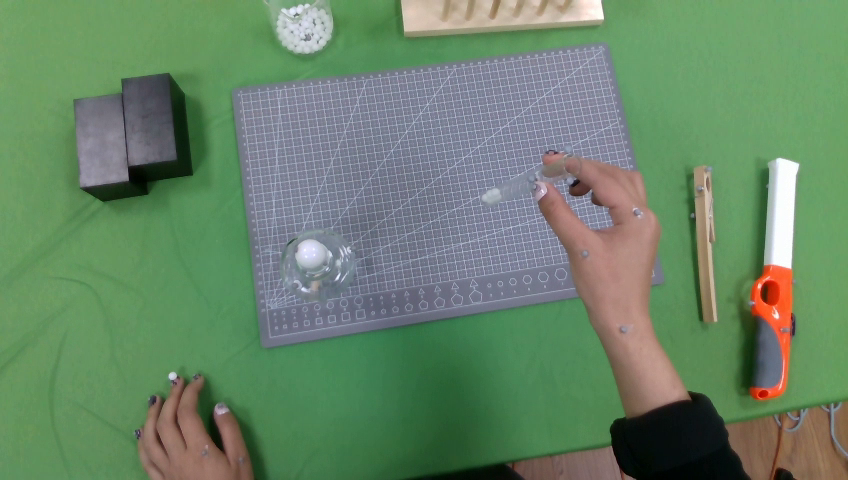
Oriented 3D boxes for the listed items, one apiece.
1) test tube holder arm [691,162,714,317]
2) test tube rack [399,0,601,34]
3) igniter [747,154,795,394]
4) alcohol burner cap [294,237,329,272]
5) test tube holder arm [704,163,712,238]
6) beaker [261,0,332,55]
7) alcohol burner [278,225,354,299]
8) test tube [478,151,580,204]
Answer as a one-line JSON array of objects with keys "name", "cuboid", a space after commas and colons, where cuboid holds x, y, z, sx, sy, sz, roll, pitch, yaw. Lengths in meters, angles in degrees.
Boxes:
[{"name": "test tube holder arm", "cuboid": [0.317, -0.002, 0.689, 0.013, 0.015, 0.177, 8, 78, -32]}, {"name": "test tube rack", "cuboid": [0.093, -0.298, 0.702, 0.242, 0.085, 0.066, -5, 79, -4]}, {"name": "igniter", "cuboid": [0.394, 0.036, 0.683, 0.057, 0.025, 0.275, 13, 79, -11]}, {"name": "alcohol burner cap", "cuboid": [-0.109, 0.013, 0.575, 0.034, 0.048, 0.034, 1, 83, -5]}, {"name": "test tube holder arm", "cuboid": [0.323, -0.045, 0.700, 0.010, 0.015, 0.087, 9, 77, -32]}, {"name": "beaker", "cuboid": [-0.141, -0.258, 0.674, 0.074, 0.100, 0.083, -6, 79, -4]}, {"name": "alcohol burner", "cuboid": [-0.110, 0.019, 0.611, 0.078, 0.119, 0.077, 1, 77, -4]}, {"name": "test tube", "cuboid": [0.079, -0.048, 0.492, 0.017, 0.150, 0.017, 2, 84, -19]}]
